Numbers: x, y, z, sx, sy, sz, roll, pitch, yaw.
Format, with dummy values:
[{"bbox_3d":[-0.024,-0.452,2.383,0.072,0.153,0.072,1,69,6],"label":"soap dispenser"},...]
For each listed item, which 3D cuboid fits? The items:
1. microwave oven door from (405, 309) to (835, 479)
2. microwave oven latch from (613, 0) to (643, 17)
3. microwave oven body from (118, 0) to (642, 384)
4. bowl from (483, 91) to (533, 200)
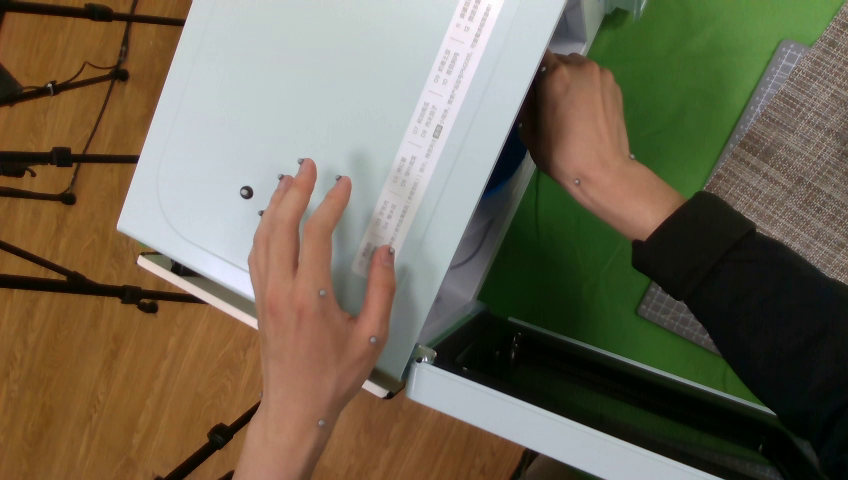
[{"bbox_3d":[0.183,0.148,0.504,0.354,0.244,0.039,18,97,15],"label":"microwave oven door"},{"bbox_3d":[0.208,-0.258,0.578,0.030,0.029,0.079,26,100,13],"label":"microwave oven latch"},{"bbox_3d":[-0.018,-0.154,0.549,0.324,0.261,0.442,25,100,13],"label":"microwave oven body"},{"bbox_3d":[0.030,-0.103,0.567,0.151,0.077,0.151,0,92,14],"label":"bowl"}]
